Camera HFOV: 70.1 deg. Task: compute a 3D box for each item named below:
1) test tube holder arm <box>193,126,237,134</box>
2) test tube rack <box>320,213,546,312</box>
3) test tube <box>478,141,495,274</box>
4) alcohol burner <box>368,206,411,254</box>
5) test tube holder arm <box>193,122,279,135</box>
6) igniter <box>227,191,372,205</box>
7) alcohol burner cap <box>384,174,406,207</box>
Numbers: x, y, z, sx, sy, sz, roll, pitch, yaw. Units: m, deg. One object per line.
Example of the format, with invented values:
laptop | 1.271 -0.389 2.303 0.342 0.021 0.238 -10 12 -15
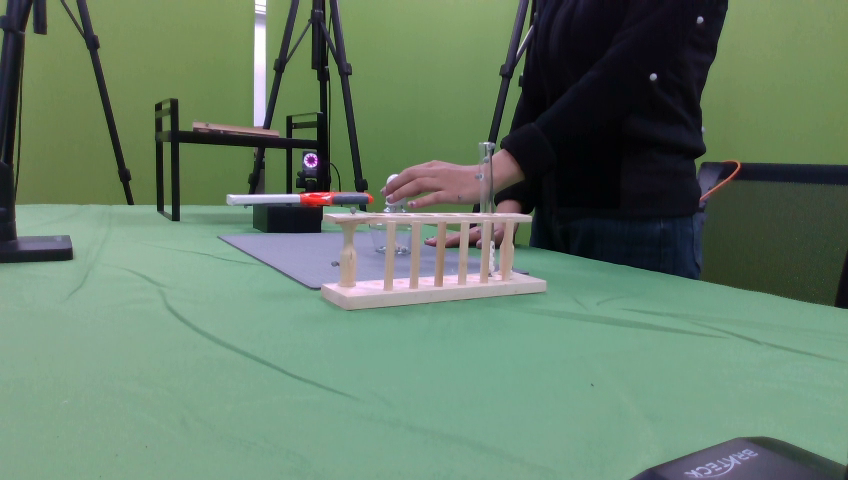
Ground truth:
test tube holder arm | -0.443 -0.235 1.284 0.088 0.015 0.010 -2 -21 -28
test tube rack | 0.017 0.017 0.638 0.244 0.085 0.066 -2 9 -31
test tube | 0.071 -0.036 0.683 0.017 0.150 0.017 -2 8 1
alcohol burner | -0.045 -0.038 0.913 0.078 0.119 0.078 4 7 0
test tube holder arm | -0.401 -0.238 1.301 0.179 0.015 0.013 -2 -21 -29
igniter | -0.232 -0.080 1.162 0.278 0.025 0.057 -3 12 -28
alcohol burner cap | -0.044 -0.075 0.907 0.034 0.048 0.034 0 13 0
